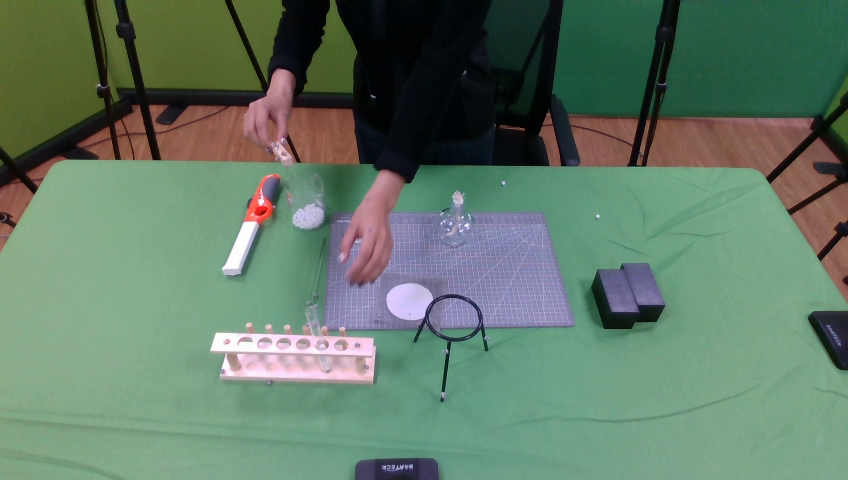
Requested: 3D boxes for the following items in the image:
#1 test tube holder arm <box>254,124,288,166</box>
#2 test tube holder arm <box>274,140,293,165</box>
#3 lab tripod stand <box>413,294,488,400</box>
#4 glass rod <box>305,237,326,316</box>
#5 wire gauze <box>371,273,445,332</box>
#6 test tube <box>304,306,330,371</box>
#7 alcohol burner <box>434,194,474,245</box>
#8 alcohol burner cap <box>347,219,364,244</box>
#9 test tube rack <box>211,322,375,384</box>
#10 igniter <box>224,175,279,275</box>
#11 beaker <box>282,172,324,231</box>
[{"bbox_3d":[-0.277,-0.173,1.091,0.013,0.015,0.177,-18,37,-26],"label":"test tube holder arm"},{"bbox_3d":[-0.250,-0.154,1.061,0.010,0.015,0.087,-18,37,-25],"label":"test tube holder arm"},{"bbox_3d":[0.045,0.159,0.972,0.148,0.132,0.147,2,44,-2],"label":"lab tripod stand"},{"bbox_3d":[-0.202,0.064,1.132,0.008,0.008,0.198,4,43,0],"label":"glass rod"},{"bbox_3d":[-0.028,0.108,1.100,0.125,0.011,0.121,7,45,4],"label":"wire gauze"},{"bbox_3d":[-0.162,0.153,0.925,0.017,0.151,0.017,-2,44,2],"label":"test tube"},{"bbox_3d":[0.061,-0.046,1.183,0.078,0.119,0.077,3,47,-3],"label":"alcohol burner"},{"bbox_3d":[-0.135,-0.019,1.190,0.034,0.048,0.033,2,46,-2],"label":"alcohol burner cap"},{"bbox_3d":[-0.203,0.176,0.969,0.242,0.085,0.066,3,46,-2],"label":"test tube rack"},{"bbox_3d":[-0.340,-0.039,1.206,0.057,0.025,0.275,-2,45,8],"label":"igniter"},{"bbox_3d":[-0.234,-0.073,1.199,0.084,0.101,0.074,24,49,17],"label":"beaker"}]
